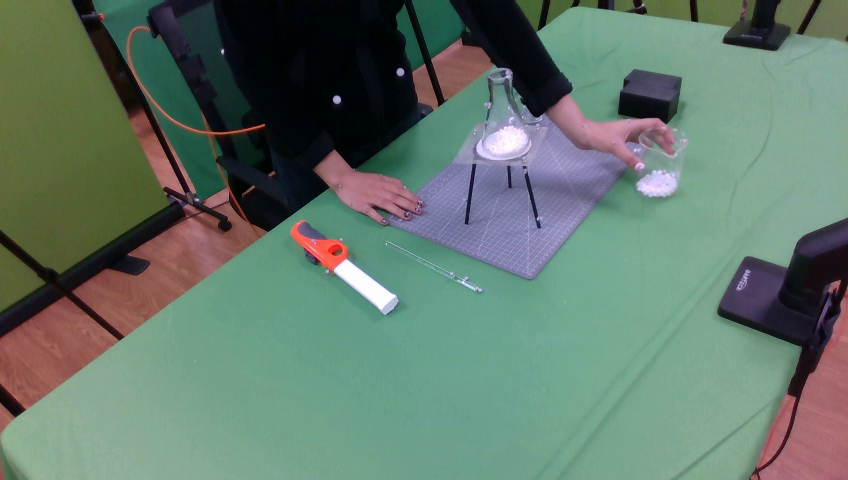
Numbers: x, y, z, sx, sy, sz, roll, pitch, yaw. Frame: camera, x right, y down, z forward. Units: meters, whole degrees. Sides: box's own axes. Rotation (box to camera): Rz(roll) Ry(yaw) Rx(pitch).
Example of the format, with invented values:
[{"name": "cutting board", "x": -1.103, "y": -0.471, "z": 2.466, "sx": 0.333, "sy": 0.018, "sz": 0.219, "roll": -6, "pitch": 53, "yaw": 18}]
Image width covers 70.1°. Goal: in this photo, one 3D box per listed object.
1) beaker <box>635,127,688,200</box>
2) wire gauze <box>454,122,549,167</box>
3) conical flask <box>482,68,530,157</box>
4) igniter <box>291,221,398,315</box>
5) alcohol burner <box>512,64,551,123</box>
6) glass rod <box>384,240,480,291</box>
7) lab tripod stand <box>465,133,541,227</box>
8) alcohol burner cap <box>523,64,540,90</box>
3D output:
[{"name": "beaker", "x": 0.389, "y": -0.122, "z": 0.994, "sx": 0.074, "sy": 0.101, "sz": 0.083, "roll": -8, "pitch": 41, "yaw": 2}, {"name": "wire gauze", "x": 0.122, "y": -0.149, "z": 0.943, "sx": 0.121, "sy": 0.011, "sz": 0.125, "roll": 7, "pitch": 44, "yaw": 22}, {"name": "conical flask", "x": 0.118, "y": -0.192, "z": 0.902, "sx": 0.075, "sy": 0.122, "sz": 0.075, "roll": -7, "pitch": 39, "yaw": 6}, {"name": "igniter", "x": -0.136, "y": 0.037, "z": 0.962, "sx": 0.057, "sy": 0.025, "sz": 0.274, "roll": -40, "pitch": 48, "yaw": -18}, {"name": "alcohol burner", "x": 0.215, "y": -0.298, "z": 1.220, "sx": 0.078, "sy": 0.120, "sz": 0.077, "roll": -7, "pitch": 41, "yaw": 7}, {"name": "glass rod", "x": 0.009, "y": 0.037, "z": 0.949, "sx": 0.198, "sy": 0.008, "sz": 0.008, "roll": 26, "pitch": 52, "yaw": 34}, {"name": "lab tripod stand", "x": 0.129, "y": -0.099, "z": 0.985, "sx": 0.148, "sy": 0.132, "sz": 0.147, "roll": -6, "pitch": 38, "yaw": 6}, {"name": "alcohol burner cap", "x": 0.210, "y": -0.324, "z": 1.195, "sx": 0.034, "sy": 0.048, "sz": 0.033, "roll": -7, "pitch": 44, "yaw": 8}]
